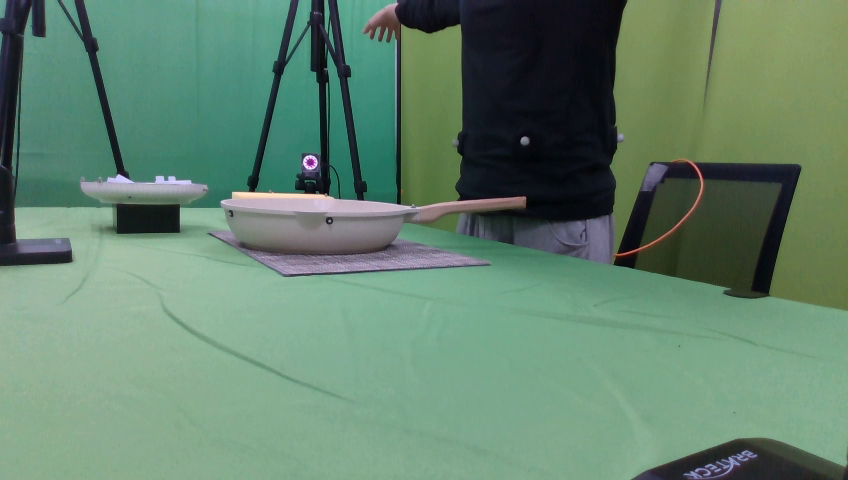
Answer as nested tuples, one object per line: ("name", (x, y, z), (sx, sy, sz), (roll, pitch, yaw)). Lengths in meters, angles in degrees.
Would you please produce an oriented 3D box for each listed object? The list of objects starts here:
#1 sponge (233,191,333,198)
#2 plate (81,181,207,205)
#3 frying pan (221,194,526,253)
("sponge", (-0.318, -0.074, 1.356), (0.208, 0.061, 0.117), (0, 8, -24))
("plate", (-0.504, -0.086, 1.100), (0.208, 0.039, 0.207), (1, 6, 0))
("frying pan", (-0.070, -0.043, 0.984), (0.489, 0.102, 0.306), (-7, 9, -5))
